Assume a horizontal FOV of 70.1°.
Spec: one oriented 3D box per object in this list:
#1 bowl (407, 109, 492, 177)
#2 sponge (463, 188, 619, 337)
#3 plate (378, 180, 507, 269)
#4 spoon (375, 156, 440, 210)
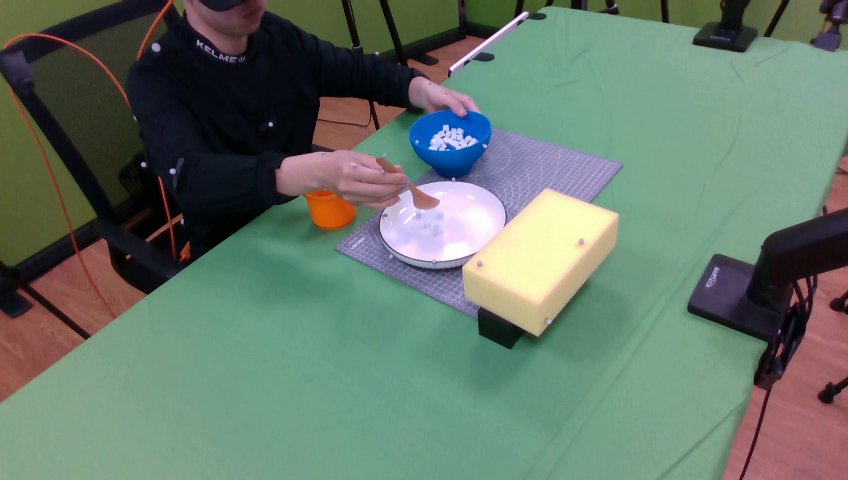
[{"bbox_3d":[0.050,-0.167,1.097,0.151,0.077,0.150,-5,39,4],"label":"bowl"},{"bbox_3d":[0.160,0.022,0.814,0.117,0.061,0.207,24,50,32],"label":"sponge"},{"bbox_3d":[0.031,-0.022,0.974,0.209,0.038,0.208,-4,40,4],"label":"plate"},{"bbox_3d":[-0.026,-0.081,0.892,0.041,0.195,0.021,-16,63,20],"label":"spoon"}]
